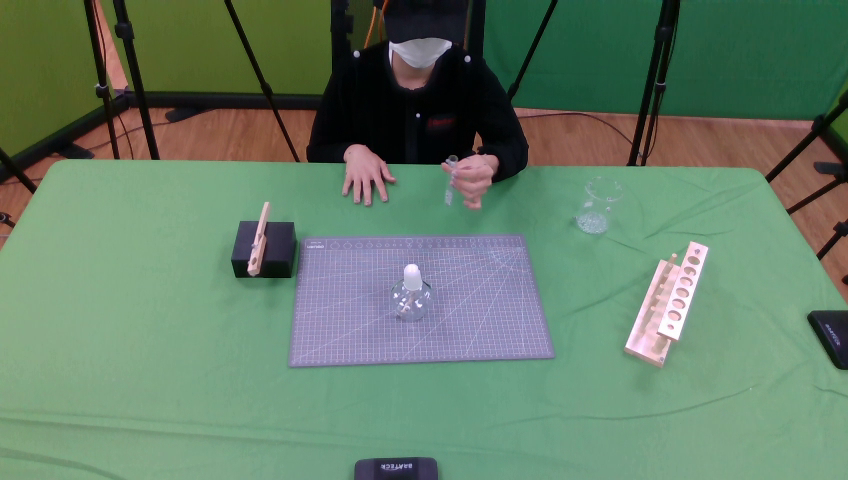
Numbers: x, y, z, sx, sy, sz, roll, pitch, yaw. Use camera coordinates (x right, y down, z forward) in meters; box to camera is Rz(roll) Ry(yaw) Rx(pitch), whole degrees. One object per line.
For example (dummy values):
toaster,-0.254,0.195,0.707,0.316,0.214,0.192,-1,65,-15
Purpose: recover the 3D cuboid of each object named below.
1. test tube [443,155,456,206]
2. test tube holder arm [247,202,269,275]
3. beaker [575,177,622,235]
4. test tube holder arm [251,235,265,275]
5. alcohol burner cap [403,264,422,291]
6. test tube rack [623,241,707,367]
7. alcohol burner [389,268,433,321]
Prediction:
test tube,0.046,-0.104,1.089,0.017,0.151,0.017,1,62,-1
test tube holder arm,-0.304,-0.006,1.116,0.013,0.015,0.177,-6,46,2
beaker,0.356,-0.068,1.240,0.084,0.101,0.073,-18,50,-21
test tube holder arm,-0.297,0.025,1.084,0.010,0.015,0.087,-6,46,2
alcohol burner cap,-0.021,0.060,1.021,0.034,0.048,0.033,-2,47,2
test tube rack,0.435,0.104,1.089,0.066,0.085,0.242,24,49,19
alcohol burner,-0.022,0.085,1.046,0.078,0.119,0.077,2,48,-2
